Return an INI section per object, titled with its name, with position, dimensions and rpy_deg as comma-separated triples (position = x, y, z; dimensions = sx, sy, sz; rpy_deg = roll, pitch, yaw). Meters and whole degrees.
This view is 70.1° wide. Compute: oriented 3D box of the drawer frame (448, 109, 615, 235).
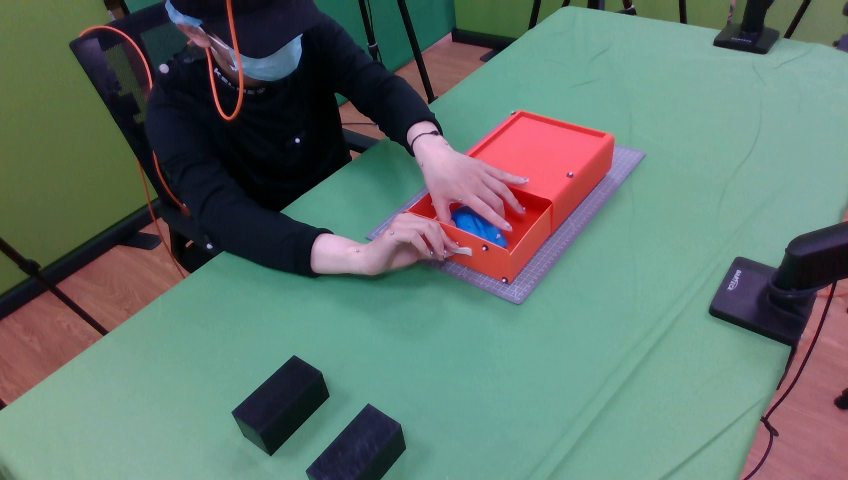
[drawer frame]
position = 0.184, -0.124, 1.034
dimensions = 0.200, 0.083, 0.214
rpy_deg = 23, 49, 31

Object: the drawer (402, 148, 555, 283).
[drawer]
position = 0.107, -0.049, 0.962
dimensions = 0.193, 0.073, 0.212
rpy_deg = 22, 50, 31

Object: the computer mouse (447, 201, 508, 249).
[computer mouse]
position = 0.083, -0.020, 0.954
dimensions = 0.063, 0.041, 0.116
rpy_deg = -16, 48, -14
